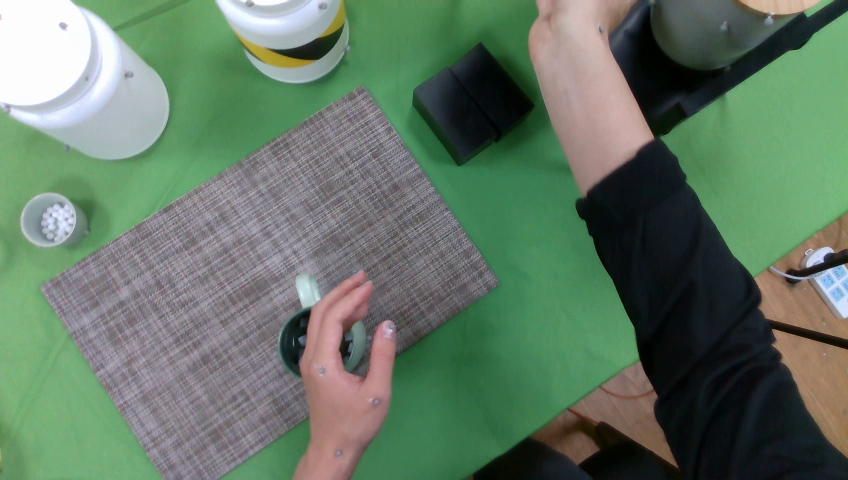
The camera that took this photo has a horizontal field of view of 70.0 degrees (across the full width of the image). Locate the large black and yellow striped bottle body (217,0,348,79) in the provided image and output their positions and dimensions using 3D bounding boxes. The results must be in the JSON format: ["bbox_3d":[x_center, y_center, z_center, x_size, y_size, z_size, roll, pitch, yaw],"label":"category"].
[{"bbox_3d":[-0.156,-0.270,0.666,0.131,0.184,0.130,0,84,-3],"label":"large black and yellow striped bottle body"}]

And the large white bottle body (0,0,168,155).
[{"bbox_3d":[-0.369,-0.173,0.642,0.131,0.185,0.130,0,84,-3],"label":"large white bottle body"}]

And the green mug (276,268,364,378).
[{"bbox_3d":[-0.119,0.091,0.670,0.092,0.105,0.125,-17,85,-5],"label":"green mug"}]

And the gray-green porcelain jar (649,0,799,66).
[{"bbox_3d":[0.269,-0.222,0.538,0.106,0.126,0.105,0,84,-3],"label":"gray-green porcelain jar"}]

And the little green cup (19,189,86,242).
[{"bbox_3d":[-0.425,-0.026,0.698,0.061,0.038,0.061,0,85,-4],"label":"little green cup"}]

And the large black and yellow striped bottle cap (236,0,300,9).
[{"bbox_3d":[-0.152,-0.281,0.583,0.115,0.019,0.114,1,84,-5],"label":"large black and yellow striped bottle cap"}]

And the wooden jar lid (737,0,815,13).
[{"bbox_3d":[0.272,-0.229,0.477,0.108,0.020,0.108,0,87,-5],"label":"wooden jar lid"}]

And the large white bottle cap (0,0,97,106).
[{"bbox_3d":[-0.363,-0.182,0.558,0.115,0.018,0.114,0,85,-4],"label":"large white bottle cap"}]
